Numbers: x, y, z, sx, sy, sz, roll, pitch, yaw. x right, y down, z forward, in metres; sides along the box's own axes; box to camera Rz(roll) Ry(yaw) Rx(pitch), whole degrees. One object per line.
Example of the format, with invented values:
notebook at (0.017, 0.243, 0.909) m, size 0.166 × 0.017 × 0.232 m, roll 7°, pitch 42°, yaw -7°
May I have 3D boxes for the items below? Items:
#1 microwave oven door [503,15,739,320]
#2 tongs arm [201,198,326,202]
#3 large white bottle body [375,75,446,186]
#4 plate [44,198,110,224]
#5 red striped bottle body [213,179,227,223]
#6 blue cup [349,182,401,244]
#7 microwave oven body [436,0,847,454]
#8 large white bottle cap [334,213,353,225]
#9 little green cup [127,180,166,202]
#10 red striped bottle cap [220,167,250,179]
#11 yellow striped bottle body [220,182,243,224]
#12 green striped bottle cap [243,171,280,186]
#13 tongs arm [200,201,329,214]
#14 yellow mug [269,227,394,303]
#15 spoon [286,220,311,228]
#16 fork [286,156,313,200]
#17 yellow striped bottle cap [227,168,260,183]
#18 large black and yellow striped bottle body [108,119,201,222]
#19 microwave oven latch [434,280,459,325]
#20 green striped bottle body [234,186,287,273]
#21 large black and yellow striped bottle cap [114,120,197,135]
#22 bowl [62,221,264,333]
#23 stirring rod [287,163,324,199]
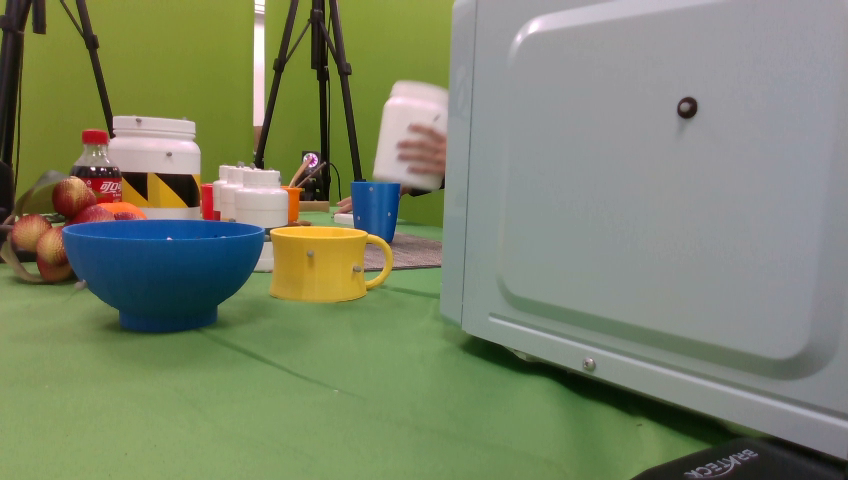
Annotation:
microwave oven door at (0.218, -0.065, 0.600) m, size 0.358 × 0.243 × 0.039 m, roll -4°, pitch 10°, yaw -41°
tongs arm at (-0.433, -0.090, 1.508) m, size 0.390 × 0.028 × 0.028 m, roll -1°, pitch 2°, yaw -29°
large white bottle body at (-0.012, -0.200, 1.119) m, size 0.131 × 0.184 × 0.130 m, roll 11°, pitch 3°, yaw 0°
plate at (-0.617, -0.056, 1.179) m, size 0.209 × 0.038 × 0.209 m, roll 3°, pitch 7°, yaw 0°
red striped bottle body at (-0.284, -0.048, 0.910) m, size 0.063 × 0.119 × 0.063 m, roll 3°, pitch 12°, yaw 0°
blue cup at (-0.082, -0.046, 1.010) m, size 0.093 × 0.100 × 0.092 m, roll 1°, pitch 6°, yaw 0°
microwave oven body at (0.279, -0.040, 0.465) m, size 0.444 × 0.260 × 0.324 m, roll -3°, pitch 9°, yaw -41°
large white bottle cap at (-0.145, -0.048, 1.355) m, size 0.115 × 0.018 × 0.115 m, roll 2°, pitch 8°, yaw 0°
little green cup at (-0.486, -0.086, 1.061) m, size 0.061 × 0.038 × 0.061 m, roll 1°, pitch 7°, yaw 0°
red striped bottle cap at (-0.281, -0.100, 0.901) m, size 0.044 × 0.017 × 0.044 m, roll -1°, pitch 4°, yaw 0°
yellow striped bottle body at (-0.246, -0.036, 0.825) m, size 0.063 × 0.120 × 0.063 m, roll 3°, pitch 8°, yaw 0°
green striped bottle cap at (-0.198, -0.074, 0.736) m, size 0.044 × 0.020 × 0.044 m, roll 1°, pitch 7°, yaw 0°
tongs arm at (-0.378, -0.079, 1.440) m, size 0.387 × 0.026 × 0.050 m, roll -4°, pitch 8°, yaw -44°
yellow mug at (-0.094, 0.023, 0.629) m, size 0.131 × 0.064 × 0.099 m, roll 0°, pitch 7°, yaw -22°
spoon at (-0.232, -0.027, 1.116) m, size 0.041 × 0.021 × 0.193 m, roll -22°, pitch 6°, yaw 4°
fork at (-0.288, -0.117, 1.319) m, size 0.028 × 0.019 × 0.207 m, roll -7°, pitch 45°, yaw 32°
yellow striped bottle cap at (-0.243, -0.087, 0.818) m, size 0.044 × 0.018 × 0.044 m, roll 3°, pitch 6°, yaw 0°
large black and yellow striped bottle body at (-0.412, -0.088, 0.930) m, size 0.131 × 0.184 × 0.130 m, roll 3°, pitch 7°, yaw 0°
microwave oven latch at (0.044, 0.045, 0.470) m, size 0.079 × 0.029 × 0.030 m, roll -2°, pitch 8°, yaw -39°
green striped bottle body at (-0.200, -0.023, 0.743) m, size 0.063 × 0.119 × 0.063 m, roll 2°, pitch 7°, yaw 0°
large black and yellow striped bottle cap at (-0.407, -0.171, 0.920) m, size 0.115 × 0.019 × 0.115 m, roll 2°, pitch 9°, yaw 0°
bowl at (-0.209, 0.029, 0.496) m, size 0.151 × 0.077 × 0.151 m, roll 2°, pitch 6°, yaw 0°
stirring rod at (-0.278, -0.105, 1.293) m, size 0.176 × 0.006 × 0.014 m, roll -47°, pitch 25°, yaw -19°
